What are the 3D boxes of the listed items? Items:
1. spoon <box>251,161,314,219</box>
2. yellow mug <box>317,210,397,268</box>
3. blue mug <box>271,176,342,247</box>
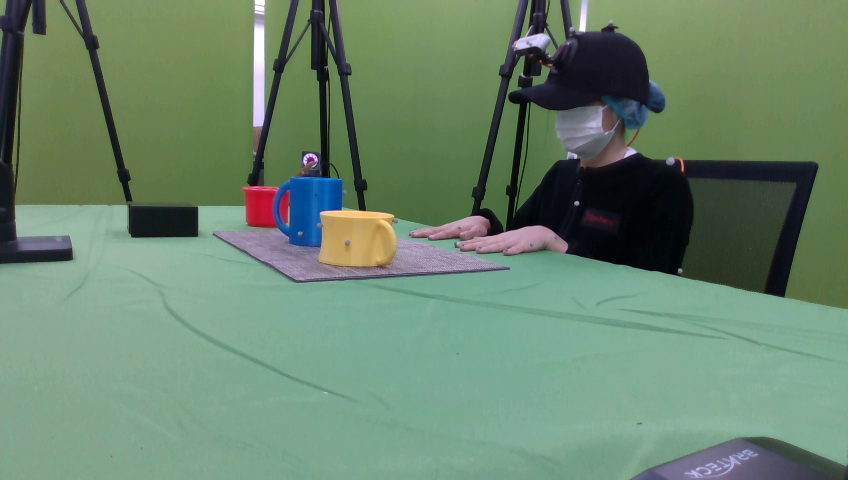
[{"bbox_3d":[-0.280,-0.097,1.194,0.193,0.021,0.042,-43,-15,26],"label":"spoon"},{"bbox_3d":[-0.080,-0.001,0.797,0.130,0.064,0.100,11,11,44],"label":"yellow mug"},{"bbox_3d":[-0.190,-0.047,0.963,0.116,0.106,0.082,4,7,13],"label":"blue mug"}]
